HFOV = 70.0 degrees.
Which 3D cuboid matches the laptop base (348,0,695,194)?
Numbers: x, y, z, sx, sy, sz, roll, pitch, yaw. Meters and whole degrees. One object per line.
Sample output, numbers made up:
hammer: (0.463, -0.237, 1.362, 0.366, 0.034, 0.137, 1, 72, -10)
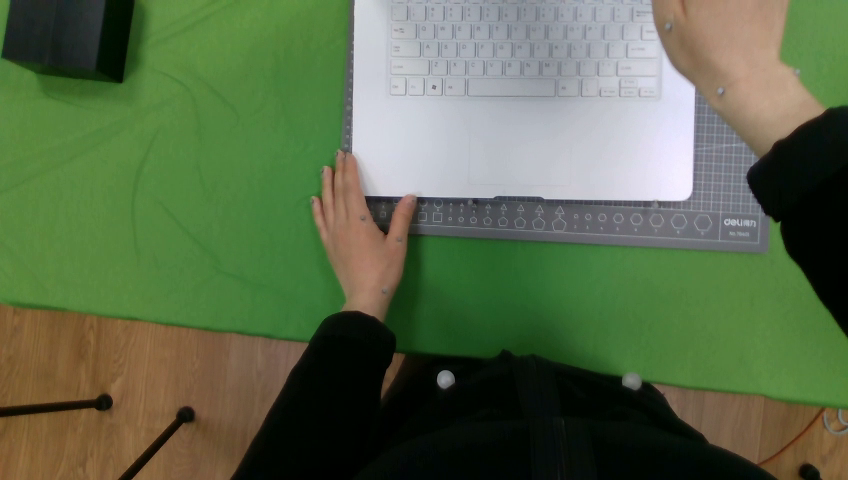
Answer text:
laptop base: (0.098, -0.167, 0.633, 0.354, 0.023, 0.235, 1, 93, 2)
